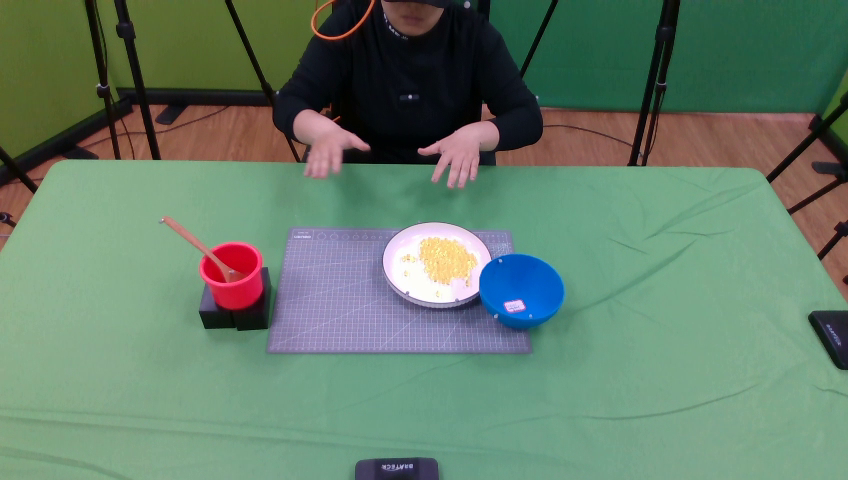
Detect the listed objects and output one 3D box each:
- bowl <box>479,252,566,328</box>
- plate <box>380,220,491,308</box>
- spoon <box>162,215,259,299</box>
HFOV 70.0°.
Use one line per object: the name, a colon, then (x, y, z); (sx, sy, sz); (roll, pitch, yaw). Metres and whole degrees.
bowl: (0.167, 0.102, 1.067); (0.151, 0.077, 0.150); (2, 46, -2)
plate: (0.022, 0.048, 1.137); (0.208, 0.039, 0.206); (2, 46, -2)
spoon: (-0.348, 0.027, 0.992); (0.194, 0.021, 0.041); (48, 51, -19)
